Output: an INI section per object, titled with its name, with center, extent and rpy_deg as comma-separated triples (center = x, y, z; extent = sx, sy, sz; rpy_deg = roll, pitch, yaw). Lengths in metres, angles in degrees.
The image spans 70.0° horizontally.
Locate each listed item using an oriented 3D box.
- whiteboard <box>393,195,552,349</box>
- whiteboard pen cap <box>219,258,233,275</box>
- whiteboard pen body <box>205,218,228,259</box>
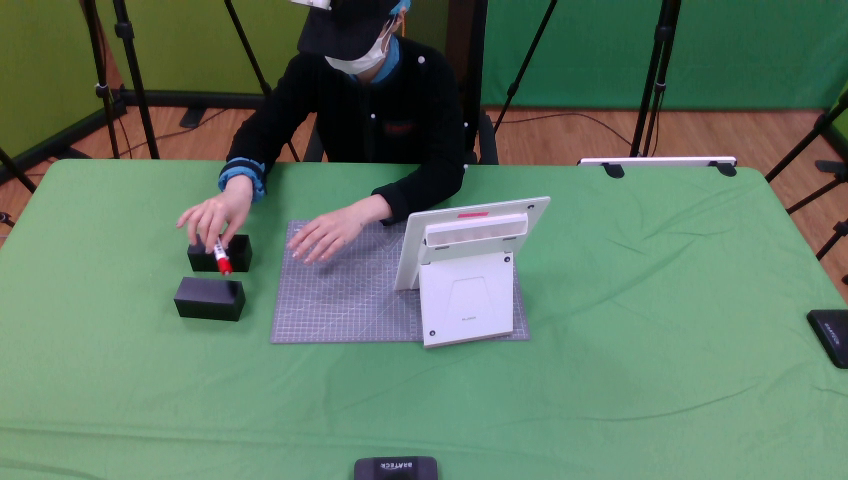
[whiteboard]
center = 0.077, 0.071, 0.977
extent = 0.217, 0.306, 0.143
rpy_deg = -7, 66, -11
[whiteboard pen cap]
center = -0.337, 0.043, 1.029
extent = 0.017, 0.017, 0.032
rpy_deg = -19, 46, -21
[whiteboard pen body]
center = -0.363, 0.006, 1.065
extent = 0.017, 0.017, 0.139
rpy_deg = -18, 46, -20
